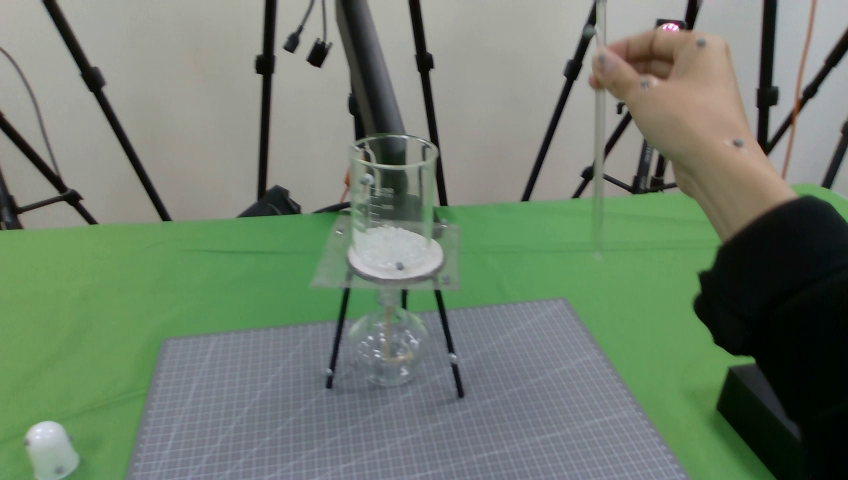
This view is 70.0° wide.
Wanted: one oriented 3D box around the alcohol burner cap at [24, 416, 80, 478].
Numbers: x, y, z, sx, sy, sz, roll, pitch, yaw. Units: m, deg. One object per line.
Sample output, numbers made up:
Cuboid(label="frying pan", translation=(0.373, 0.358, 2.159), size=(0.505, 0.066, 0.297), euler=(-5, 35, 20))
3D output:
Cuboid(label="alcohol burner cap", translation=(-0.300, 0.163, 0.486), size=(0.034, 0.048, 0.033), euler=(1, 30, 0))

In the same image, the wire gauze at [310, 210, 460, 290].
Cuboid(label="wire gauze", translation=(-0.029, 0.007, 0.539), size=(0.121, 0.011, 0.124), euler=(3, 32, 2))

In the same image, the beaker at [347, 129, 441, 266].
Cuboid(label="beaker", translation=(-0.029, -0.036, 0.516), size=(0.083, 0.101, 0.074), euler=(23, 36, 31))

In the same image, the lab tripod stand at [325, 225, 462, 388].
Cuboid(label="lab tripod stand", translation=(-0.024, 0.064, 0.573), size=(0.148, 0.132, 0.147), euler=(3, 30, -1))

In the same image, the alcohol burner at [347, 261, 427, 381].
Cuboid(label="alcohol burner", translation=(-0.035, 0.074, 0.576), size=(0.078, 0.120, 0.077), euler=(0, 29, 0))

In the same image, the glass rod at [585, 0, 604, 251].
Cuboid(label="glass rod", translation=(0.111, -0.088, 0.395), size=(0.008, 0.200, 0.008), euler=(-3, 18, 1))
